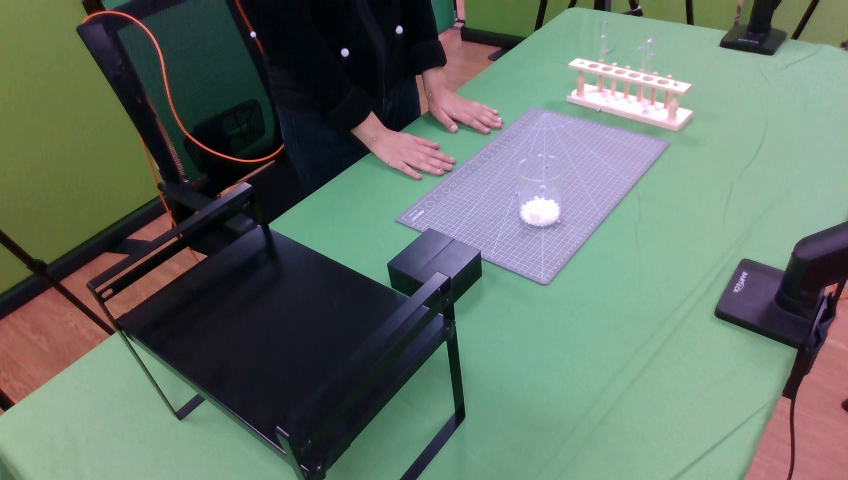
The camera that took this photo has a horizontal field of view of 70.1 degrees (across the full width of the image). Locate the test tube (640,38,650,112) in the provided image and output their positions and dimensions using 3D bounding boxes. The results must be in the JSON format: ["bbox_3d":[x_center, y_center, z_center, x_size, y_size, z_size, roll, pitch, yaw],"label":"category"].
[{"bbox_3d":[0.422,-0.312,1.154,0.017,0.151,0.017,-9,39,8],"label":"test tube"}]

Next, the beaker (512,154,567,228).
[{"bbox_3d":[0.186,-0.076,0.973,0.084,0.101,0.074,1,41,11],"label":"beaker"}]

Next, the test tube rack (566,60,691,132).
[{"bbox_3d":[0.411,-0.299,1.217,0.240,0.085,0.067,26,51,33],"label":"test tube rack"}]

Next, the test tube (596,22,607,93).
[{"bbox_3d":[0.363,-0.372,1.240,0.017,0.151,0.017,-6,40,5],"label":"test tube"}]
